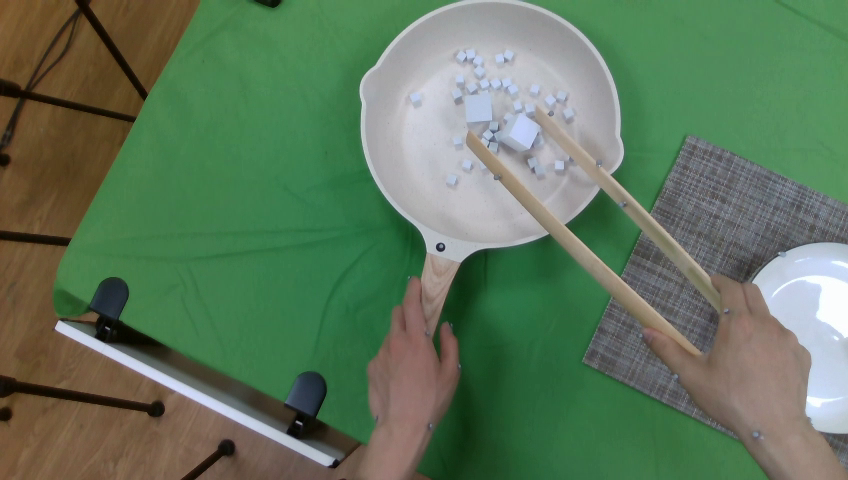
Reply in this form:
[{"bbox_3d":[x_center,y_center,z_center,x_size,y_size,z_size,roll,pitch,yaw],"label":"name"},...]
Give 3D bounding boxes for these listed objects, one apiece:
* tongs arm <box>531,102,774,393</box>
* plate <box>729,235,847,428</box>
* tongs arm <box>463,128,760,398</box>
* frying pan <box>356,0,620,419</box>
[{"bbox_3d":[0.202,-0.016,0.608,0.051,0.027,0.380,-23,55,-18],"label":"tongs arm"},{"bbox_3d":[0.440,0.099,0.670,0.207,0.039,0.207,0,82,3],"label":"plate"},{"bbox_3d":[0.155,0.005,0.593,0.028,0.028,0.383,-25,56,-23],"label":"tongs arm"},{"bbox_3d":[0.036,-0.040,0.682,0.306,0.103,0.486,18,75,6],"label":"frying pan"}]
